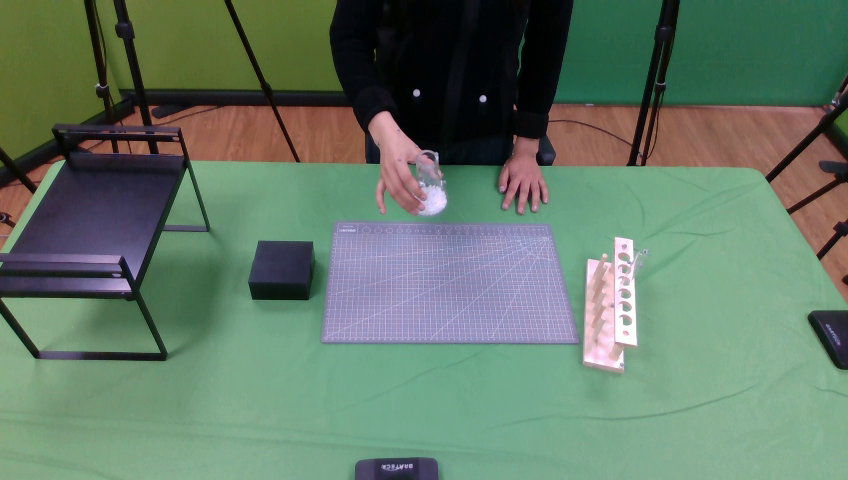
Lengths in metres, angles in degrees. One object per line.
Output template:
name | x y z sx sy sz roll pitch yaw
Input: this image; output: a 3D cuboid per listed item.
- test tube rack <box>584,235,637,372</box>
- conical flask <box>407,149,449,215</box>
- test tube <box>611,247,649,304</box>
test tube rack | 0.329 0.103 1.073 0.067 0.085 0.241 11 47 7
conical flask | 0.006 -0.102 1.027 0.075 0.122 0.075 -1 60 1
test tube | 0.353 0.065 1.044 0.017 0.151 0.017 3 49 -4
